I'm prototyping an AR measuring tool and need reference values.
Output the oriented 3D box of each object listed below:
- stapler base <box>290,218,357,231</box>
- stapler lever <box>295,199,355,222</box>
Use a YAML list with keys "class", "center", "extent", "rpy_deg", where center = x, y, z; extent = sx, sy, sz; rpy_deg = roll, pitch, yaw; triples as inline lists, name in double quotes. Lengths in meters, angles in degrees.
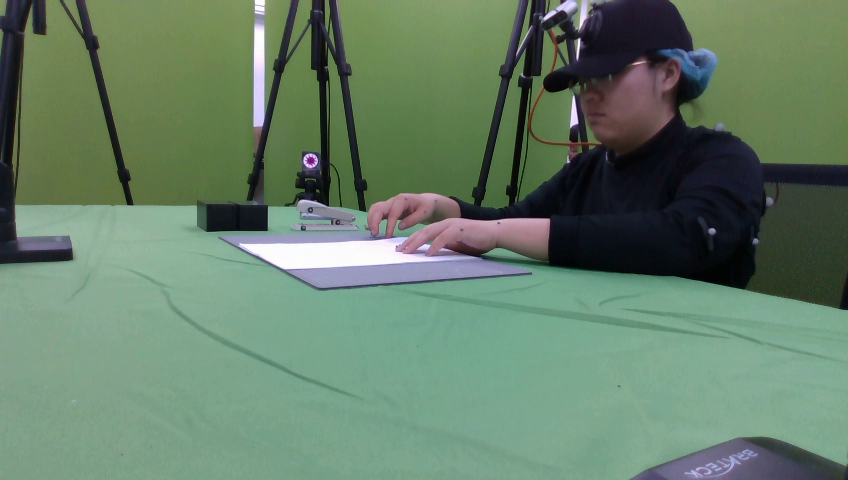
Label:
- class: "stapler base"
  center: [-0.199, -0.033, 1.201]
  extent: [0.131, 0.024, 0.041]
  rpy_deg: [2, 10, -25]
- class: "stapler lever"
  center: [-0.196, -0.058, 1.199]
  extent: [0.118, 0.040, 0.026]
  rpy_deg: [2, 10, -25]
